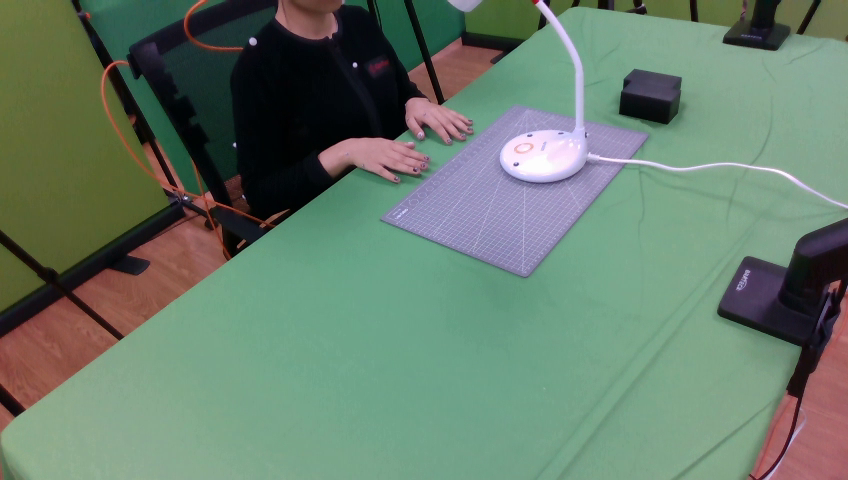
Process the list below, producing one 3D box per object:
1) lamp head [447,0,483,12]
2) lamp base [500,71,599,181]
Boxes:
[{"bbox_3d":[0.084,-0.422,0.915,0.122,0.113,0.112,-21,31,36],"label":"lamp head"},{"bbox_3d":[0.223,-0.217,1.068,0.179,0.181,0.160,2,42,10],"label":"lamp base"}]
